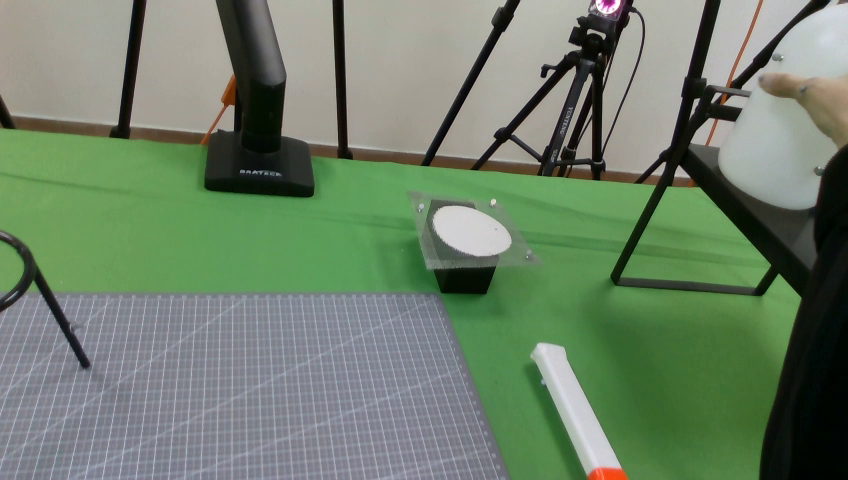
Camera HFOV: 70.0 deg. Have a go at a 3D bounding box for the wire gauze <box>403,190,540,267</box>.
[{"bbox_3d":[0.046,-0.012,0.631,0.122,0.011,0.123,4,37,-19],"label":"wire gauze"}]

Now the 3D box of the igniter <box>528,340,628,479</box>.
[{"bbox_3d":[0.139,0.184,0.463,0.057,0.025,0.273,13,34,-23],"label":"igniter"}]

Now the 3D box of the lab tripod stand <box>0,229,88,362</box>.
[{"bbox_3d":[-0.276,0.069,0.364,0.149,0.132,0.147,12,35,-8],"label":"lab tripod stand"}]

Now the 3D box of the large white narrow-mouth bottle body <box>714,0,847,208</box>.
[{"bbox_3d":[0.336,-0.130,0.514,0.102,0.196,0.101,10,36,-7],"label":"large white narrow-mouth bottle body"}]
